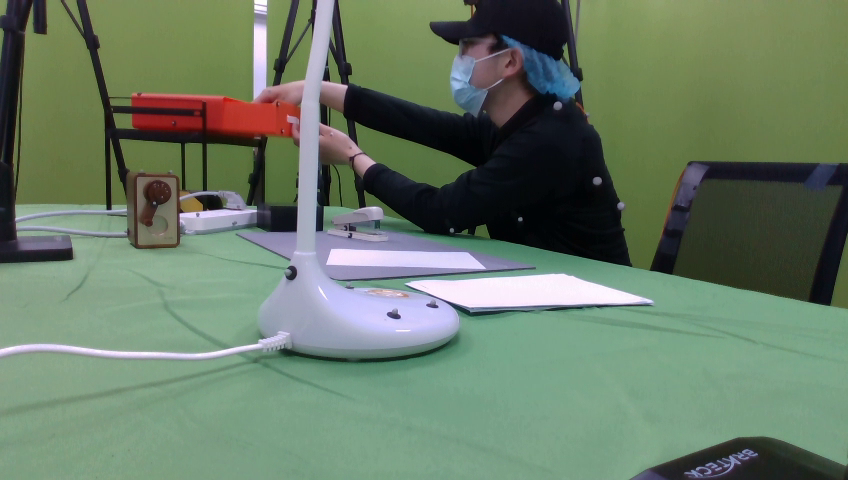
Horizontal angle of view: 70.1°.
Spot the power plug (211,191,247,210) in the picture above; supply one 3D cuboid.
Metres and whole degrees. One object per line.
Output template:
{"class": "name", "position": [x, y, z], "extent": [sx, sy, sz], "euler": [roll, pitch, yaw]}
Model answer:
{"class": "power plug", "position": [-0.386, -0.071, 1.204], "extent": [0.072, 0.052, 0.035], "euler": [7, 9, 27]}

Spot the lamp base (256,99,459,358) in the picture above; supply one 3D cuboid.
{"class": "lamp base", "position": [-0.055, -0.013, 0.463], "extent": [0.160, 0.180, 0.180], "euler": [6, 11, 27]}

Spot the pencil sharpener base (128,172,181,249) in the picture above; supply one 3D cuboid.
{"class": "pencil sharpener base", "position": [-0.395, -0.044, 0.887], "extent": [0.062, 0.107, 0.076], "euler": [-2, 9, -34]}

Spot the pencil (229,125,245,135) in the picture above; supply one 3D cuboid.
{"class": "pencil", "position": [-0.416, -0.247, 1.352], "extent": [0.012, 0.012, 0.193], "euler": [-2, 5, -26]}

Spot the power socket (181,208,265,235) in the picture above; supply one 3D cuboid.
{"class": "power socket", "position": [-0.381, -0.038, 1.129], "extent": [0.072, 0.032, 0.227], "euler": [4, 8, 17]}

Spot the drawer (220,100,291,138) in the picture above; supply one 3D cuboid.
{"class": "drawer", "position": [-0.389, -0.271, 1.362], "extent": [0.211, 0.073, 0.195], "euler": [3, 8, 9]}

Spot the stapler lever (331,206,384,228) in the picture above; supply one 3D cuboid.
{"class": "stapler lever", "position": [-0.118, -0.043, 1.070], "extent": [0.117, 0.040, 0.027], "euler": [7, 8, 41]}

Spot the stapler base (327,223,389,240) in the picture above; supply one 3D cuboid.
{"class": "stapler base", "position": [-0.117, -0.018, 1.073], "extent": [0.130, 0.024, 0.041], "euler": [7, 8, 41]}

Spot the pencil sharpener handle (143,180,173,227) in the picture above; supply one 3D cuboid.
{"class": "pencil sharpener handle", "position": [-0.371, -0.050, 0.840], "extent": [0.036, 0.067, 0.030], "euler": [24, -6, -34]}

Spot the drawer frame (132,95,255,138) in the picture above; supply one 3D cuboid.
{"class": "drawer frame", "position": [-0.506, -0.280, 1.378], "extent": [0.213, 0.082, 0.202], "euler": [3, 8, 7]}

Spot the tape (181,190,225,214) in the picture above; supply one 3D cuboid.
{"class": "tape", "position": [-0.516, -0.086, 1.388], "extent": [0.117, 0.052, 0.117], "euler": [4, 7, 0]}
